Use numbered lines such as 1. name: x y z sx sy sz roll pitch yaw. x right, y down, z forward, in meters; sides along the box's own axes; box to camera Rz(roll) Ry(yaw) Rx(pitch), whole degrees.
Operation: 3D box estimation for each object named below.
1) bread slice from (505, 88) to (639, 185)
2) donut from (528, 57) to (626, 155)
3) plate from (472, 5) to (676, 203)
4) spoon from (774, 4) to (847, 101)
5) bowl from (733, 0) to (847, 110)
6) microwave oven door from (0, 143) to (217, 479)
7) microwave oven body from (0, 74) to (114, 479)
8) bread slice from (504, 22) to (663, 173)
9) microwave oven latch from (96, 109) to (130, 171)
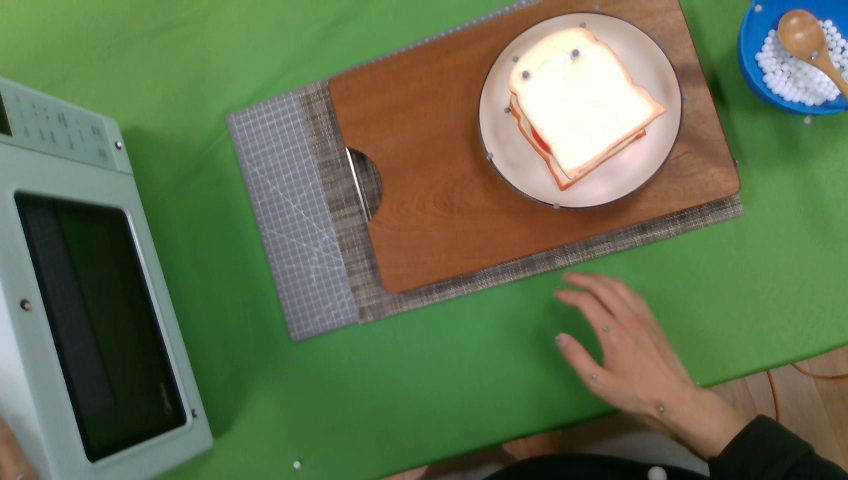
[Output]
1. bread slice: 0.150 -0.139 0.651 0.105 0.019 0.131 -36 86 5
2. donut: 0.155 -0.136 0.617 0.099 0.048 0.099 0 90 3
3. plate: 0.156 -0.141 0.646 0.207 0.039 0.207 0 88 10
4. spoon: 0.396 -0.154 0.582 0.041 0.022 0.192 -19 62 6
5. bowl: 0.385 -0.198 0.616 0.151 0.077 0.151 0 88 10
6. microwave oven door: -0.345 0.080 0.636 0.039 0.244 0.355 -21 84 9
7. microwave oven body: -0.493 0.091 0.667 0.326 0.261 0.440 -20 85 8
8. bread slice: 0.143 -0.143 0.589 0.107 0.018 0.133 -39 76 8
9. microwave oven latch: -0.396 -0.121 0.755 0.030 0.029 0.079 -21 85 8
